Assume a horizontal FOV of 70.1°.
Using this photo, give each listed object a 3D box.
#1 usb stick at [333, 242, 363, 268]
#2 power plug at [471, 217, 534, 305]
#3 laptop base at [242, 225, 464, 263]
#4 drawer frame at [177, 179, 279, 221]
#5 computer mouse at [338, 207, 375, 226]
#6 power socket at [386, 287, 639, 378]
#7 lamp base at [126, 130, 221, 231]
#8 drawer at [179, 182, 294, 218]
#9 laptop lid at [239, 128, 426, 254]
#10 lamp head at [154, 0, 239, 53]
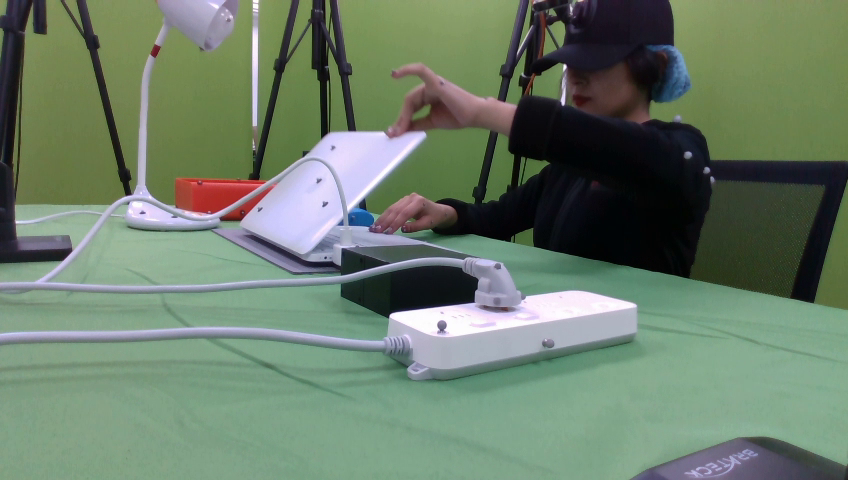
[{"bbox_3d":[-0.096,0.017,0.743,0.021,0.027,0.059,-6,8,-31],"label":"usb stick"},{"bbox_3d":[0.055,0.014,0.454,0.035,0.072,0.052,-22,-1,-40],"label":"power plug"},{"bbox_3d":[-0.127,0.003,0.947,0.237,0.023,0.352,2,6,-30],"label":"laptop base"},{"bbox_3d":[-0.422,-0.092,1.352,0.215,0.082,0.200,-3,10,-32],"label":"drawer frame"},{"bbox_3d":[-0.163,-0.048,1.264,0.118,0.041,0.062,-6,12,-28],"label":"computer mouse"},{"bbox_3d":[0.074,0.064,0.461,0.228,0.032,0.072,-4,8,-34],"label":"power socket"},{"bbox_3d":[-0.469,-0.112,1.108,0.179,0.180,0.160,0,7,3],"label":"lamp base"},{"bbox_3d":[-0.420,-0.091,1.354,0.213,0.073,0.193,-3,10,-31],"label":"drawer"},{"bbox_3d":[-0.156,-0.088,0.916,0.242,0.013,0.355,-47,27,-14],"label":"laptop lid"},{"bbox_3d":[-0.406,-0.402,1.059,0.123,0.112,0.112,25,5,-6],"label":"lamp head"}]
